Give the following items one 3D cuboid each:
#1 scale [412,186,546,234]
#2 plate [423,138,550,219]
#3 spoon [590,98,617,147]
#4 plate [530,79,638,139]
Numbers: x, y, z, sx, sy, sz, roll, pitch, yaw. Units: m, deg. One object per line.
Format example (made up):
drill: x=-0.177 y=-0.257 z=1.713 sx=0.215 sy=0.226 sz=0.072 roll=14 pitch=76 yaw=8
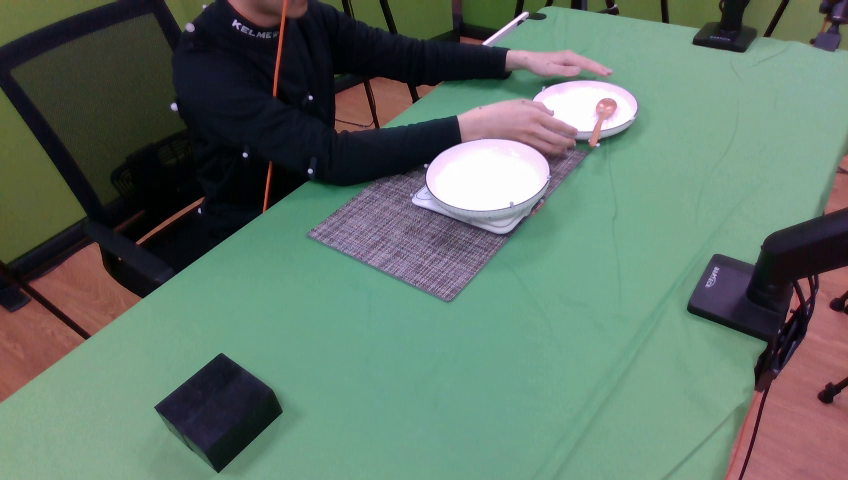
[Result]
scale: x=0.093 y=-0.083 z=1.038 sx=0.199 sy=0.032 sz=0.149 roll=22 pitch=48 yaw=30
plate: x=0.104 y=-0.099 z=1.005 sx=0.207 sy=0.039 sz=0.206 roll=-4 pitch=41 yaw=4
spoon: x=0.334 y=-0.225 z=1.145 sx=0.041 sy=0.022 sz=0.194 roll=10 pitch=36 yaw=21
plate: x=0.317 y=-0.257 z=1.209 sx=0.209 sy=0.038 sz=0.208 roll=-4 pitch=41 yaw=4
